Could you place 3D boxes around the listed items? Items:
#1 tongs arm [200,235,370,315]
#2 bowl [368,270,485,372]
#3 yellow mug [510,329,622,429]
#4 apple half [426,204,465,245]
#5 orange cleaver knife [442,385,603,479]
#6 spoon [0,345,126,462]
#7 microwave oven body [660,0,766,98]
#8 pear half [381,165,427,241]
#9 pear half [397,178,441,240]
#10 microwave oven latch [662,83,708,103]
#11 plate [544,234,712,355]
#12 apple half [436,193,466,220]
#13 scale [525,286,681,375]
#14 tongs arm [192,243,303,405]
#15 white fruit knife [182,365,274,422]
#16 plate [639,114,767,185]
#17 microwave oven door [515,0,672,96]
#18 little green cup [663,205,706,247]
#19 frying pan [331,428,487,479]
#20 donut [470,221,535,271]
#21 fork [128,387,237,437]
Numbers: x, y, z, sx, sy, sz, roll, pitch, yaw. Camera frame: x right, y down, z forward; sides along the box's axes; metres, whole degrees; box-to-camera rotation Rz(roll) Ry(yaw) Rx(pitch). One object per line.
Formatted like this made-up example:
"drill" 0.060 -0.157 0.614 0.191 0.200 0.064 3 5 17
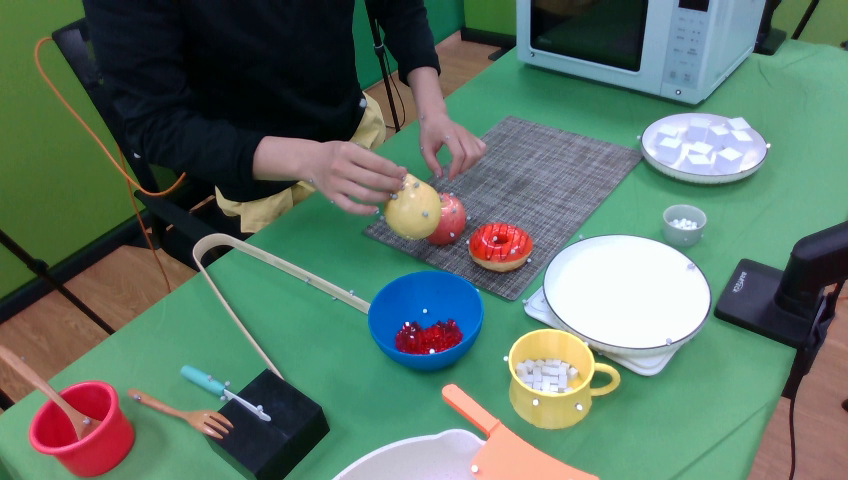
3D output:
"tongs arm" -0.209 0.062 0.924 0.381 0.027 0.051 23 54 32
"bowl" 0.007 0.118 0.791 0.151 0.077 0.150 -5 40 4
"yellow mug" 0.168 0.164 0.721 0.130 0.064 0.099 0 40 8
"apple half" 0.027 -0.018 0.944 0.081 0.081 0.032 -3 37 5
"orange cleaver knife" 0.086 0.219 0.612 0.209 0.012 0.077 28 49 35
"spoon" -0.434 0.192 0.720 0.194 0.021 0.042 47 53 -7
"microwave oven body" 0.472 -0.513 1.317 0.438 0.261 0.327 26 51 34
"pear half" -0.030 -0.056 0.795 0.055 0.110 0.076 19 49 36
"pear half" -0.001 -0.039 0.780 0.031 0.088 0.070 17 49 36
"microwave oven latch" 0.517 -0.296 1.204 0.078 0.029 0.030 28 52 35
"plate" 0.262 0.072 0.792 0.209 0.038 0.208 -4 41 4
"apple half" 0.028 -0.042 0.975 0.080 0.075 0.053 -5 37 8
"scale" 0.254 0.091 0.821 0.199 0.032 0.149 27 51 35
"tongs arm" -0.268 0.110 0.884 0.028 0.028 0.384 -36 47 -17
"white fruit knife" -0.245 0.188 0.747 0.205 0.027 0.016 9 41 41
"plate" 0.489 -0.157 1.074 0.207 0.039 0.206 -4 40 4
"microwave oven door" 0.343 -0.454 1.259 0.353 0.245 0.039 26 51 33
"little green cup" 0.396 -0.020 0.926 0.061 0.039 0.061 -4 40 4
"frying pan" -0.089 0.306 0.564 0.487 0.103 0.306 10 41 7
"donut" 0.119 0.009 0.923 0.099 0.048 0.098 -3 39 3
"fork" -0.305 0.207 0.744 0.206 0.019 0.028 3 40 35
